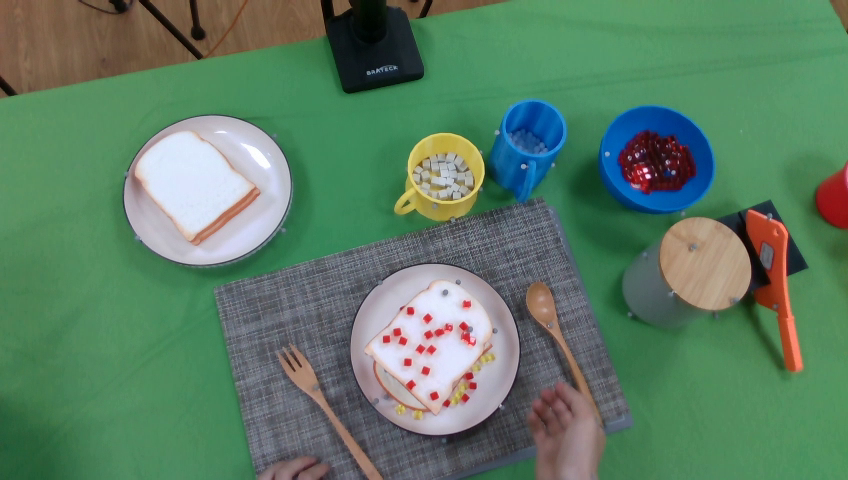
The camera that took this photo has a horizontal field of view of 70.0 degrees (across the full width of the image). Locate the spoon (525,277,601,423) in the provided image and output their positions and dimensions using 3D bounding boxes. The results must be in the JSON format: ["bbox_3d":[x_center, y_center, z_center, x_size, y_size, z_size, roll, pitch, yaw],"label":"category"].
[{"bbox_3d":[0.175,0.136,0.757,0.042,0.022,0.192,-15,73,-33],"label":"spoon"}]

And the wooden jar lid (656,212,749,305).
[{"bbox_3d":[0.313,0.022,0.687,0.108,0.021,0.108,2,74,-7],"label":"wooden jar lid"}]

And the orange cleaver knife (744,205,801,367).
[{"bbox_3d":[0.444,0.058,0.775,0.012,0.077,0.212,-16,101,-9],"label":"orange cleaver knife"}]

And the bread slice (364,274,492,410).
[{"bbox_3d":[0.011,0.105,0.684,0.107,0.018,0.134,39,68,2],"label":"bread slice"}]

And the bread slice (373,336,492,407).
[{"bbox_3d":[0.005,0.136,0.739,0.104,0.019,0.131,40,72,10],"label":"bread slice"}]

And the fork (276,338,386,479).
[{"bbox_3d":[-0.108,0.203,0.715,0.028,0.019,0.206,-35,77,-20],"label":"fork"}]

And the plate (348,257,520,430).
[{"bbox_3d":[0.012,0.124,0.740,0.209,0.038,0.208,1,73,-4],"label":"plate"}]

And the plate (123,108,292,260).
[{"bbox_3d":[-0.274,-0.070,0.782,0.208,0.039,0.206,1,73,-4],"label":"plate"}]

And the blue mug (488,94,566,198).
[{"bbox_3d":[0.131,-0.113,0.792,0.082,0.106,0.116,5,72,-2],"label":"blue mug"}]

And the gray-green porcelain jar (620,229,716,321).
[{"bbox_3d":[0.309,0.042,0.747,0.106,0.127,0.105,1,72,-4],"label":"gray-green porcelain jar"}]

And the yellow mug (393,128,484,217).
[{"bbox_3d":[0.013,-0.079,0.792,0.131,0.064,0.099,-36,77,-13],"label":"yellow mug"}]

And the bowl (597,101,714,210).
[{"bbox_3d":[0.298,-0.102,0.815,0.151,0.077,0.150,1,73,-4],"label":"bowl"}]
